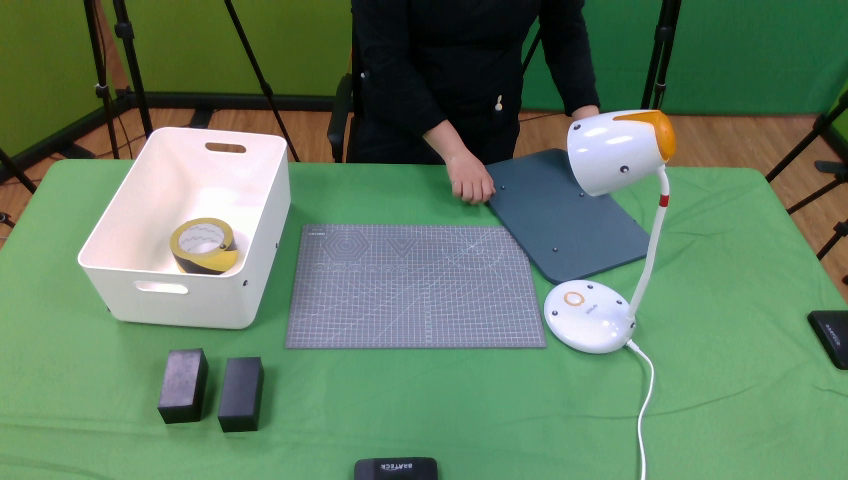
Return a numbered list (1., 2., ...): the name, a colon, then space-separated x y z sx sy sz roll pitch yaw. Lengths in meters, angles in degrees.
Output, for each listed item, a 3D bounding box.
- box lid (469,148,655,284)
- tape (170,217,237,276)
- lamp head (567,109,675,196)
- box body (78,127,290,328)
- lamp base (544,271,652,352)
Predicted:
1. box lid: 0.285 -0.064 1.289 0.263 0.015 0.369 -16 49 -20
2. tape: -0.408 0.014 1.123 0.117 0.053 0.116 2 46 -2
3. lamp head: 0.272 -0.123 0.818 0.122 0.113 0.112 -9 35 37
4. box body: -0.400 -0.026 1.095 0.254 0.161 0.362 4 46 0
5. lamp base: 0.310 0.086 1.029 0.178 0.181 0.160 32 52 21
